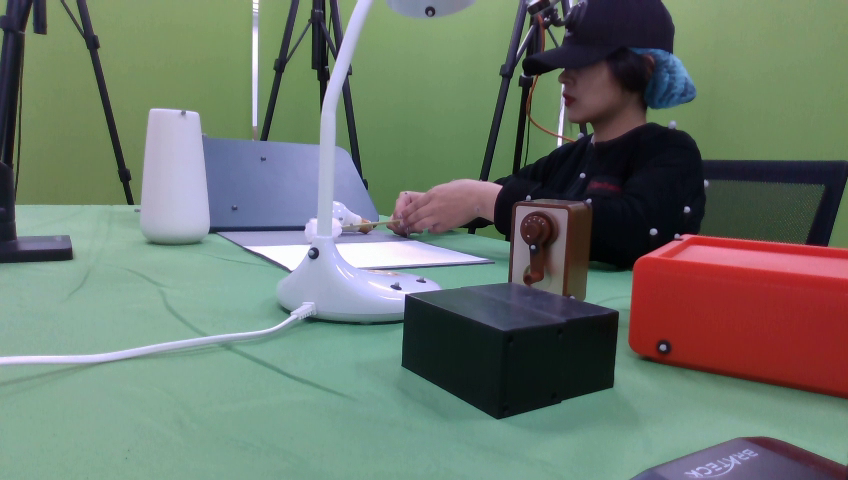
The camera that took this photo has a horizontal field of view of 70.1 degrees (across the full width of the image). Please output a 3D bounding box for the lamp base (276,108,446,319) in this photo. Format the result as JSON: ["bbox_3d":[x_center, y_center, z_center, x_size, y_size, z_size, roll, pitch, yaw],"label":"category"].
[{"bbox_3d":[-0.061,-0.027,0.556,0.160,0.180,0.180,4,10,20],"label":"lamp base"}]

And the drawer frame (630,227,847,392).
[{"bbox_3d":[0.292,0.043,0.484,0.201,0.082,0.214,7,9,29],"label":"drawer frame"}]

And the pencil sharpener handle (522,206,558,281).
[{"bbox_3d":[0.102,0.003,0.555,0.036,0.067,0.031,0,5,31],"label":"pencil sharpener handle"}]

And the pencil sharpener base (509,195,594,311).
[{"bbox_3d":[0.126,0.011,0.601,0.061,0.107,0.077,7,9,30],"label":"pencil sharpener base"}]

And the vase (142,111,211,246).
[{"bbox_3d":[-0.378,-0.093,0.920,0.098,0.200,0.098,2,9,0],"label":"vase"}]

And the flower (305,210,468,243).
[{"bbox_3d":[-0.049,-0.034,1.075,0.364,0.044,0.038,-10,7,-41],"label":"flower"}]

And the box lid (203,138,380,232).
[{"bbox_3d":[-0.286,-0.112,1.202,0.373,0.015,0.262,-2,46,-30],"label":"box lid"}]

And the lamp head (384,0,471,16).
[{"bbox_3d":[-0.001,-0.301,0.599,0.112,0.112,0.123,4,-30,14],"label":"lamp head"}]

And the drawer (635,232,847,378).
[{"bbox_3d":[0.292,0.045,0.488,0.193,0.073,0.213,7,9,30],"label":"drawer"}]

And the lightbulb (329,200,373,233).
[{"bbox_3d":[-0.143,-0.036,1.109,0.108,0.059,0.059,16,0,-28],"label":"lightbulb"}]

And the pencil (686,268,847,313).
[{"bbox_3d":[0.308,0.045,0.515,0.194,0.012,0.012,13,5,-12],"label":"pencil"}]

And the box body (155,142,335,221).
[{"bbox_3d":[-0.410,-0.135,1.386,0.366,0.160,0.253,-2,9,-29],"label":"box body"}]
